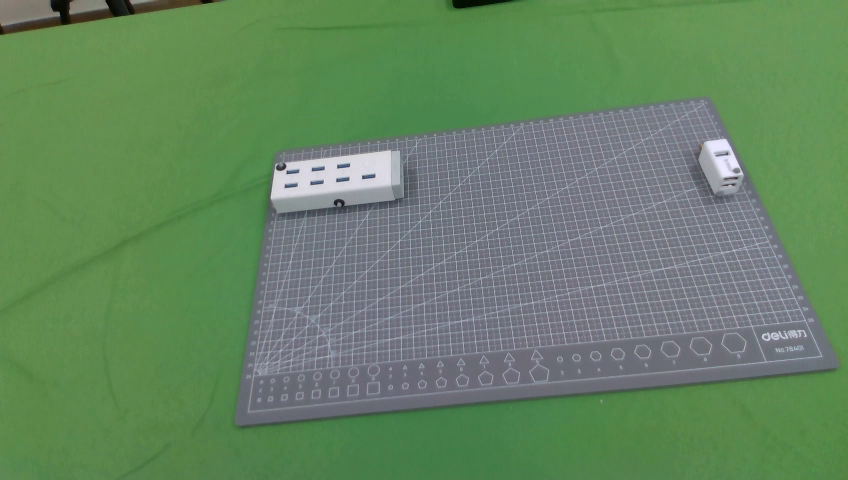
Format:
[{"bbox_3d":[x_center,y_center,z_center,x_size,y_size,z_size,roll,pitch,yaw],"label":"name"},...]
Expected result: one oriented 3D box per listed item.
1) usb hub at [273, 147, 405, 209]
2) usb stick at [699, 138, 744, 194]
[{"bbox_3d":[-0.082,-0.061,0.589,0.125,0.025,0.049,-5,54,4],"label":"usb hub"},{"bbox_3d":[0.264,-0.072,0.544,0.021,0.027,0.058,-8,51,5],"label":"usb stick"}]
